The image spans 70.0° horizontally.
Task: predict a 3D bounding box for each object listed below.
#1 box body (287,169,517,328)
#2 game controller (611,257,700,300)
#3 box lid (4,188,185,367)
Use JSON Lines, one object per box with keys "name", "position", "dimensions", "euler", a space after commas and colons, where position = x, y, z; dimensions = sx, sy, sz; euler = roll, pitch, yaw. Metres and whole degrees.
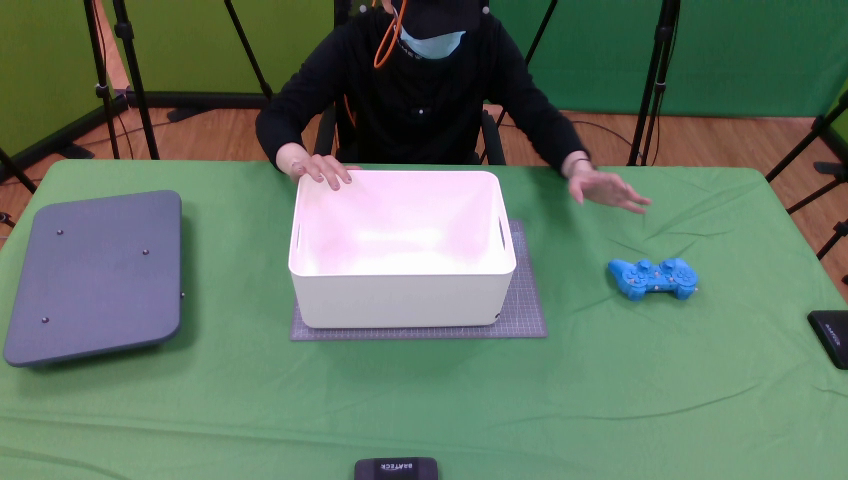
{"name": "box body", "position": [-0.040, 0.015, 1.075], "dimensions": [0.364, 0.161, 0.252], "euler": [-1, 47, -4]}
{"name": "game controller", "position": [0.441, 0.063, 1.144], "dimensions": [0.155, 0.052, 0.096], "euler": [-1, 50, -4]}
{"name": "box lid", "position": [-0.558, 0.048, 1.060], "dimensions": [0.264, 0.015, 0.369], "euler": [-10, 48, -12]}
